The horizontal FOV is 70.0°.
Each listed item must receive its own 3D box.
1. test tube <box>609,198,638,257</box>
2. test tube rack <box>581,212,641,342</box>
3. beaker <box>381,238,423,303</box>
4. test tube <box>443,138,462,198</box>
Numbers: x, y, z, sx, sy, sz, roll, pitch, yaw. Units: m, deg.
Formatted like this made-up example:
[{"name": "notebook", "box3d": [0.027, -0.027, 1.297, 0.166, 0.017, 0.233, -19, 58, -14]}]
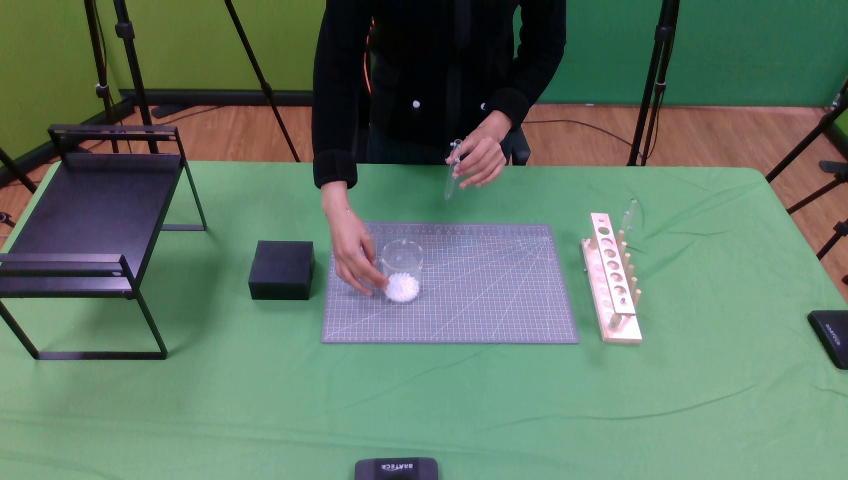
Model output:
[{"name": "test tube", "box3d": [0.375, -0.021, 1.141, 0.017, 0.151, 0.017, 2, 45, -2]}, {"name": "test tube rack", "box3d": [0.351, 0.063, 1.121, 0.067, 0.085, 0.241, 3, 46, -1]}, {"name": "beaker", "box3d": [-0.040, 0.057, 1.083, 0.074, 0.101, 0.083, 4, 46, -1]}, {"name": "test tube", "box3d": [0.053, -0.131, 1.135, 0.017, 0.151, 0.017, 4, 52, -5]}]
